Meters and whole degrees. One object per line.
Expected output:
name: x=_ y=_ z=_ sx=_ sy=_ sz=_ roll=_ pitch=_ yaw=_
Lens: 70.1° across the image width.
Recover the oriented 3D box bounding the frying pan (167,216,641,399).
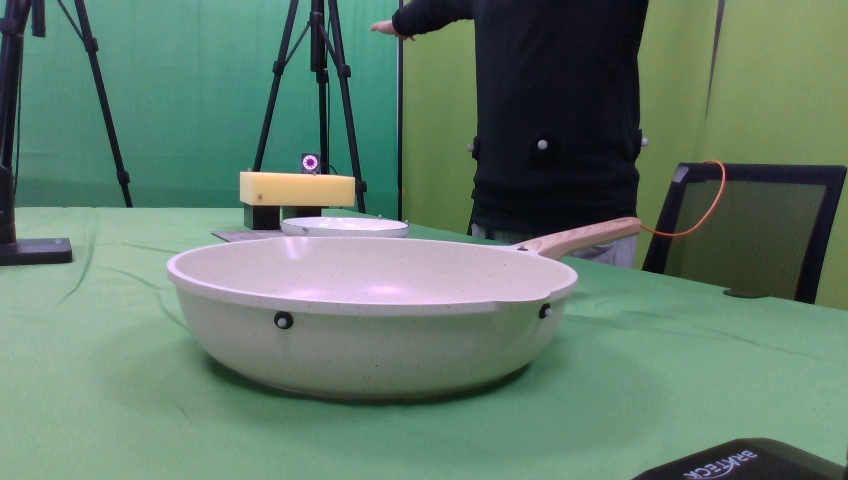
frying pan: x=0.046 y=0.024 z=0.519 sx=0.490 sy=0.102 sz=0.305 roll=-14 pitch=16 yaw=-37

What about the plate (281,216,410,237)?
plate: x=-0.126 y=-0.012 z=0.986 sx=0.208 sy=0.039 sz=0.207 roll=2 pitch=7 yaw=0

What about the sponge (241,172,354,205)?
sponge: x=-0.257 y=-0.105 z=1.226 sx=0.208 sy=0.061 sz=0.117 roll=-2 pitch=8 yaw=-28
